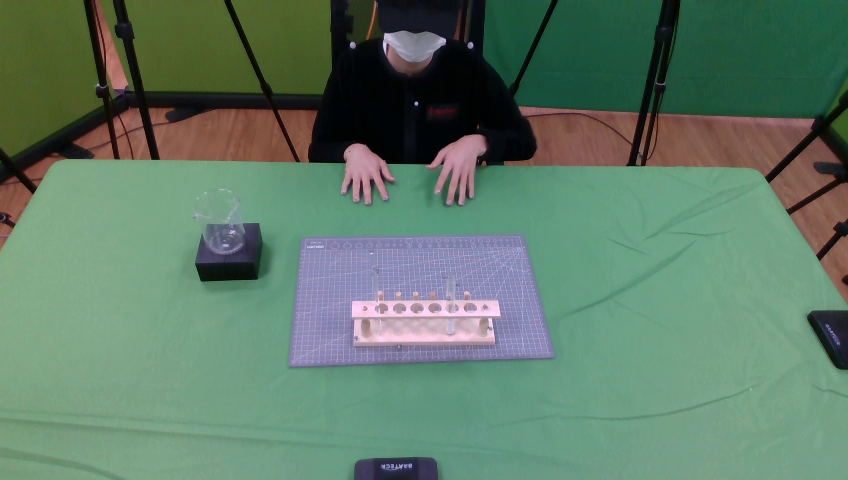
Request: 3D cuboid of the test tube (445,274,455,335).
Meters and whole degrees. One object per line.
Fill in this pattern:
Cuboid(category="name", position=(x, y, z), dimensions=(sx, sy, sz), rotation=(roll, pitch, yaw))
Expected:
Cuboid(category="test tube", position=(0.042, 0.108, 0.981), dimensions=(0.017, 0.151, 0.017), rotation=(-1, 48, 1))

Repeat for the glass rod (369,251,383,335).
Cuboid(category="glass rod", position=(-0.075, 0.090, 0.965), dimensions=(0.008, 0.201, 0.008), rotation=(-1, 44, 1))

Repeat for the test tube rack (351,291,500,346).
Cuboid(category="test tube rack", position=(0.000, 0.129, 1.026), dimensions=(0.242, 0.085, 0.066), rotation=(0, 46, -4))

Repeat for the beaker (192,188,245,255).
Cuboid(category="beaker", position=(-0.359, -0.028, 1.073), dimensions=(0.074, 0.101, 0.083), rotation=(-25, 53, -25))
